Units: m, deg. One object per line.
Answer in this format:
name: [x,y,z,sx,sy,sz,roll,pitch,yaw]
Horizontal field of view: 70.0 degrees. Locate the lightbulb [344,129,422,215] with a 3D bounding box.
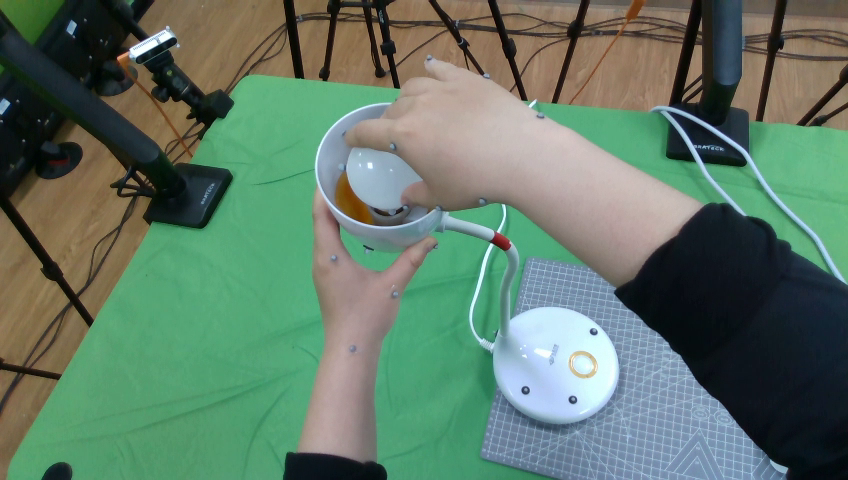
lightbulb: [-0.031,-0.047,0.484,0.059,0.108,0.059,0,72,-1]

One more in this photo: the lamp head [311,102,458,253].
lamp head: [-0.026,-0.038,0.515,0.112,0.124,0.111,-2,66,5]

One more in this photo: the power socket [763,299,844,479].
power socket: [0.454,0.172,0.731,0.072,0.033,0.225,9,59,13]

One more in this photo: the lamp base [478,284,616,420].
lamp base: [0.144,0.113,0.729,0.178,0.182,0.159,3,58,15]
